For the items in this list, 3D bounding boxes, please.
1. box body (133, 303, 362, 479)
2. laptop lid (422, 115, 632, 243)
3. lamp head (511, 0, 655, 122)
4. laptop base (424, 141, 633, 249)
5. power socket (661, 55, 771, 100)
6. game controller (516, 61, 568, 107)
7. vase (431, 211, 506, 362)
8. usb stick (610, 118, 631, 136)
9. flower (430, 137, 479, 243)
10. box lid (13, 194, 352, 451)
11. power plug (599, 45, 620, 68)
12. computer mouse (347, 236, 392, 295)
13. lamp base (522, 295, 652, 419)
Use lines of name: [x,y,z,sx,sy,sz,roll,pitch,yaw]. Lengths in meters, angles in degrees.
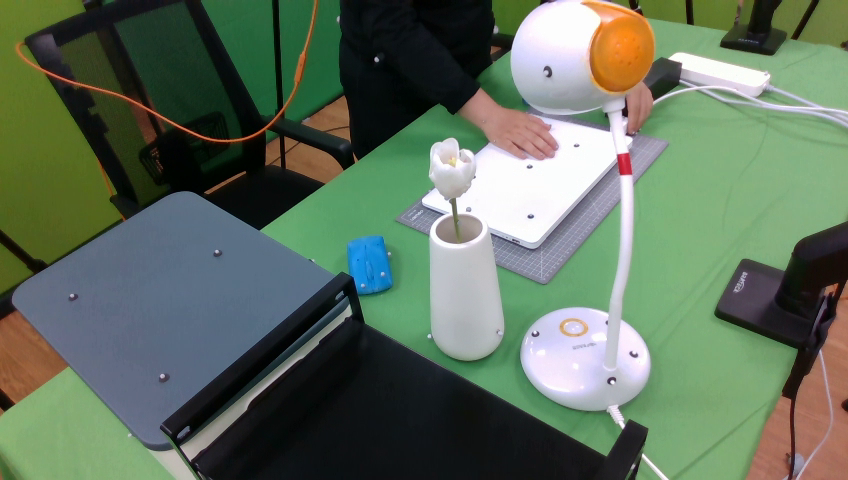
box body: [-0.285,0.123,0.766,0.361,0.161,0.255,25,49,33]
laptop lid: [0.190,-0.126,1.082,0.239,0.013,0.358,23,49,35]
lamp head: [0.155,-0.168,0.564,0.113,0.113,0.122,-18,23,-12]
laptop base: [0.193,-0.117,1.087,0.233,0.023,0.355,21,48,34]
power socket: [0.615,-0.348,1.284,0.225,0.033,0.072,30,53,36]
game controller: [0.260,-0.352,1.336,0.097,0.052,0.154,-3,41,2]
vase: [0.054,0.062,0.757,0.098,0.201,0.097,-3,40,3]
usb stick: [0.369,-0.207,1.148,0.021,0.027,0.059,27,53,30]
flower: [0.041,0.011,0.691,0.044,0.363,0.038,15,63,13]
box lid: [-0.291,0.067,0.717,0.368,0.015,0.264,25,50,33]
power plug: [0.436,-0.422,1.412,0.053,0.035,0.072,-14,73,-45]
computer mouse: [-0.086,0.035,0.936,0.063,0.041,0.116,-8,44,-5]
lamp base: [0.201,0.095,0.710,0.161,0.181,0.177,-16,43,-10]
